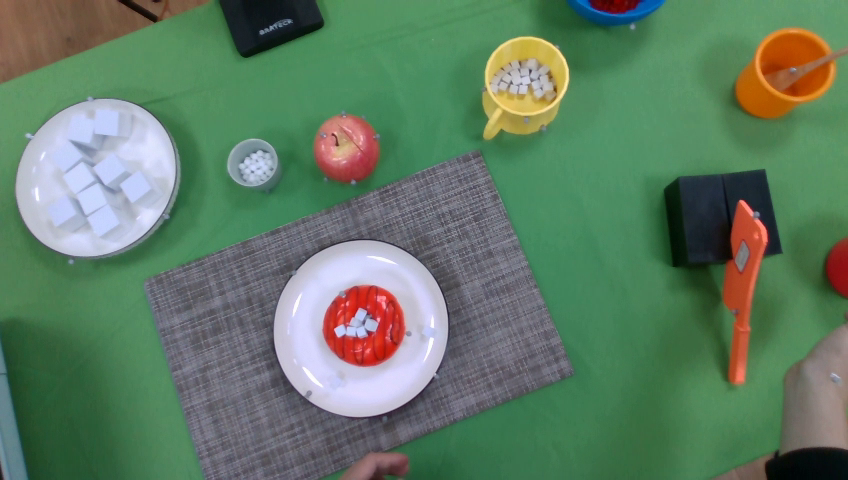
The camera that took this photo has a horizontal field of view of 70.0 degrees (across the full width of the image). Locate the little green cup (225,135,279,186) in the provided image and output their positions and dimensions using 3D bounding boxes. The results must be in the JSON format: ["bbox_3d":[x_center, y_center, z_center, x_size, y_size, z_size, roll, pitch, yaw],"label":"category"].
[{"bbox_3d":[-0.213,-0.097,0.759,0.061,0.039,0.061,0,80,3],"label":"little green cup"}]

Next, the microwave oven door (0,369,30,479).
[{"bbox_3d":[-0.467,0.304,0.583,0.039,0.244,0.354,-19,80,-1],"label":"microwave oven door"}]

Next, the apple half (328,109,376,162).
[{"bbox_3d":[-0.080,-0.133,0.741,0.033,0.081,0.081,-43,81,-1],"label":"apple half"}]

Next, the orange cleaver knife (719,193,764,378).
[{"bbox_3d":[0.351,0.054,0.684,0.012,0.076,0.212,-3,112,3],"label":"orange cleaver knife"}]

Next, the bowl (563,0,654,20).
[{"bbox_3d":[0.228,-0.335,0.758,0.151,0.077,0.151,0,81,3],"label":"bowl"}]

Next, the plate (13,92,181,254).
[{"bbox_3d":[-0.406,-0.082,0.765,0.207,0.039,0.207,0,81,3],"label":"plate"}]

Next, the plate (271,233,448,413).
[{"bbox_3d":[-0.075,0.097,0.718,0.209,0.038,0.208,0,81,3],"label":"plate"}]

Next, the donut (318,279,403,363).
[{"bbox_3d":[-0.073,0.094,0.707,0.099,0.048,0.099,0,83,3],"label":"donut"}]

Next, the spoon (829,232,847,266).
[{"bbox_3d":[0.546,0.029,0.652,0.192,0.022,0.041,22,81,50],"label":"spoon"}]

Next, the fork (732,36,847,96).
[{"bbox_3d":[0.462,-0.218,0.693,0.207,0.019,0.028,-23,74,43],"label":"fork"}]

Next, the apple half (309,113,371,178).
[{"bbox_3d":[-0.108,-0.107,0.739,0.053,0.075,0.080,-43,85,0],"label":"apple half"}]

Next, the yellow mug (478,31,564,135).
[{"bbox_3d":[0.108,-0.183,0.745,0.099,0.064,0.130,36,85,7],"label":"yellow mug"}]
